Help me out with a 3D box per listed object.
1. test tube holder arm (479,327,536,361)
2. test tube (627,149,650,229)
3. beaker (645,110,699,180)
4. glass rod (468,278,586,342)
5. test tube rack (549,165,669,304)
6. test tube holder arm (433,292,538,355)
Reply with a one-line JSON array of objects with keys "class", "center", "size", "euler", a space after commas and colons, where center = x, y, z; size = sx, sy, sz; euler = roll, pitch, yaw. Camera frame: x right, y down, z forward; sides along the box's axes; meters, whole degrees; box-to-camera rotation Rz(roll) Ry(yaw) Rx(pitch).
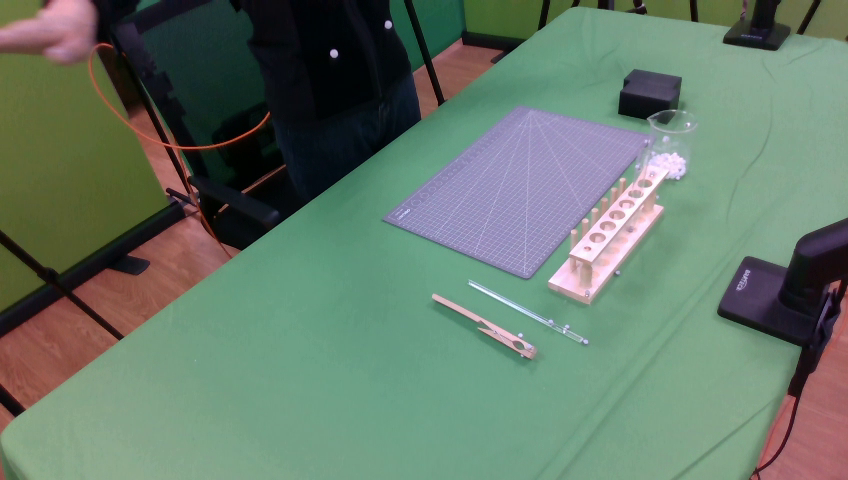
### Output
[{"class": "test tube holder arm", "center": [0.110, 0.134, 0.805], "size": [0.087, 0.015, 0.010], "euler": [29, 83, 36]}, {"class": "test tube", "center": [0.311, -0.071, 0.881], "size": [0.017, 0.151, 0.017], "euler": [-5, 47, 5]}, {"class": "beaker", "center": [0.417, -0.160, 1.032], "size": [0.083, 0.101, 0.074], "euler": [25, 51, 35]}, {"class": "glass rod", "center": [0.140, 0.096, 0.853], "size": [0.198, 0.008, 0.008], "euler": [27, 53, 35]}, {"class": "test tube rack", "center": [0.279, -0.018, 0.902], "size": [0.066, 0.085, 0.243], "euler": [24, 50, 33]}, {"class": "test tube holder arm", "center": [0.081, 0.112, 0.832], "size": [0.177, 0.015, 0.013], "euler": [28, 82, 36]}]
